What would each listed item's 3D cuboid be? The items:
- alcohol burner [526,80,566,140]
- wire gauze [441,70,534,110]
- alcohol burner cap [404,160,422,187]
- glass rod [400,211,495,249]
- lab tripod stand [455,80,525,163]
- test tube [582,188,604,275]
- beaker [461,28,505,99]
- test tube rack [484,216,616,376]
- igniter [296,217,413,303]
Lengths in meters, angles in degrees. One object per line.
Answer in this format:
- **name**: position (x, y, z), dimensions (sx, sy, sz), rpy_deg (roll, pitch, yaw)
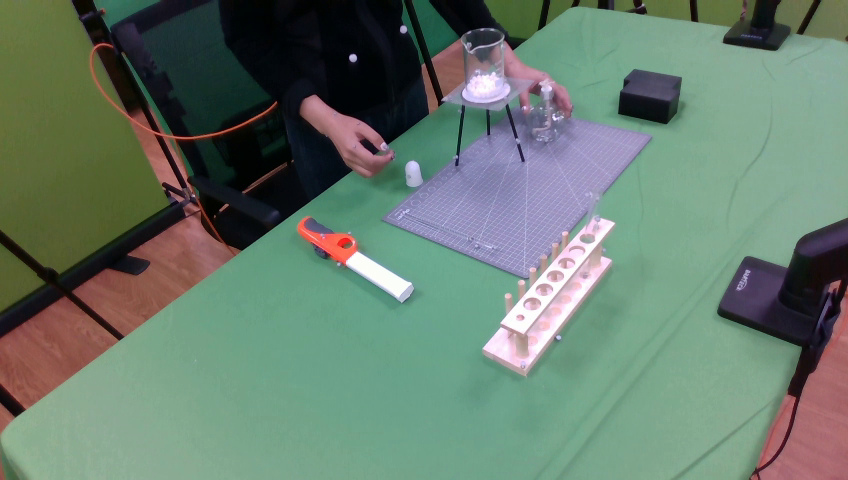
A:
- **alcohol burner**: position (0.235, -0.252, 1.159), dimensions (0.078, 0.119, 0.077), rpy_deg (-4, 42, 4)
- **wire gauze**: position (0.114, -0.268, 1.082), dimensions (0.120, 0.011, 0.125), rpy_deg (22, 47, 28)
- **alcohol burner cap**: position (-0.022, -0.125, 1.118), dimensions (0.034, 0.048, 0.033), rpy_deg (-4, 40, 4)
- **glass rod**: position (0.035, -0.018, 1.001), dimensions (0.198, 0.008, 0.008), rpy_deg (22, 49, 35)
- **lab tripod stand**: position (0.120, -0.219, 1.126), dimensions (0.148, 0.132, 0.147), rpy_deg (-4, 40, 4)
- **test tube**: position (0.228, -0.007, 0.821), dimensions (0.017, 0.151, 0.017), rpy_deg (-3, 42, 3)
- **beaker**: position (0.103, -0.304, 1.051), dimensions (0.073, 0.101, 0.084), rpy_deg (19, 48, 29)
- **test tube rack**: position (0.174, 0.064, 0.823), dimensions (0.066, 0.085, 0.243), rpy_deg (23, 49, 33)
- **igniter**: position (-0.121, 0.025, 0.970), dimensions (0.274, 0.025, 0.057), rpy_deg (30, 63, 37)
